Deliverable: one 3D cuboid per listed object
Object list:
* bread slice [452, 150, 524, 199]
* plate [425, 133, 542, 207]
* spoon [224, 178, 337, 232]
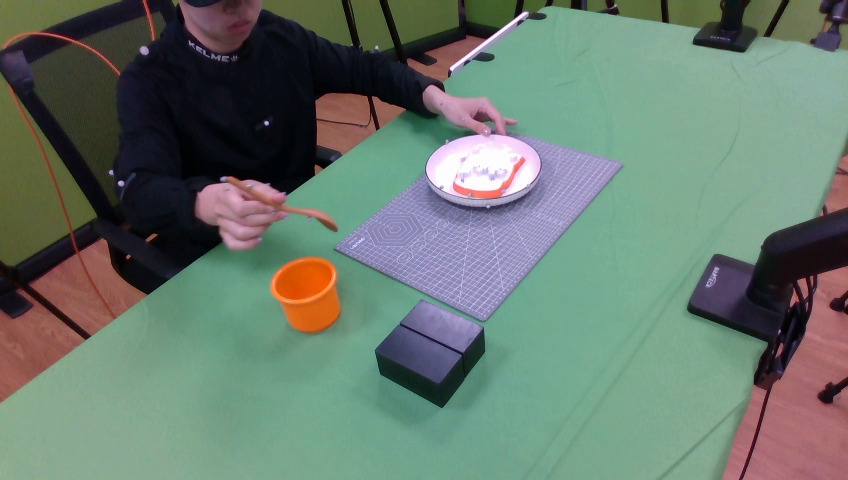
[{"bbox_3d":[0.111,-0.118,1.079,0.104,0.019,0.131,11,42,21],"label":"bread slice"},{"bbox_3d":[0.106,-0.121,1.079,0.209,0.038,0.208,-4,41,4],"label":"plate"},{"bbox_3d":[-0.183,-0.044,0.799,0.041,0.195,0.021,22,90,37],"label":"spoon"}]
